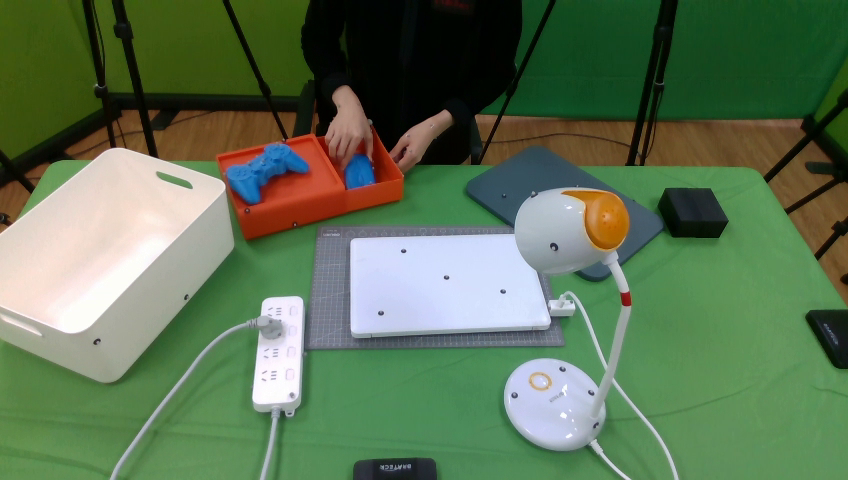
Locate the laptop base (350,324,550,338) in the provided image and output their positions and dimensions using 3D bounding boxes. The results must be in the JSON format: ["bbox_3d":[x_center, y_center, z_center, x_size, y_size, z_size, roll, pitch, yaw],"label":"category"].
[{"bbox_3d":[0.039,0.081,1.124,0.355,0.023,0.234,-2,43,-6],"label":"laptop base"}]

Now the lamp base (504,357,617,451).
[{"bbox_3d":[0.220,0.211,0.903,0.160,0.181,0.178,-33,59,-30],"label":"lamp base"}]

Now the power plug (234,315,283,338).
[{"bbox_3d":[-0.270,0.143,1.000,0.072,0.053,0.035,5,47,2],"label":"power plug"}]

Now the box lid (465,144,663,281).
[{"bbox_3d":[0.297,-0.072,1.298,0.263,0.015,0.369,-33,56,-31],"label":"box lid"}]

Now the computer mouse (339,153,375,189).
[{"bbox_3d":[-0.144,-0.144,1.303,0.063,0.041,0.116,-8,54,-14],"label":"computer mouse"}]

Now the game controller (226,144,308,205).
[{"bbox_3d":[-0.314,-0.139,1.194,0.096,0.052,0.155,30,50,26],"label":"game controller"}]

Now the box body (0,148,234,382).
[{"bbox_3d":[-0.525,0.033,1.027,0.254,0.161,0.362,18,47,13],"label":"box body"}]

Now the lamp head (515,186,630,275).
[{"bbox_3d":[0.188,-0.013,0.728,0.112,0.112,0.122,-25,9,-25],"label":"lamp head"}]

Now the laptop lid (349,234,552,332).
[{"bbox_3d":[0.040,0.071,1.118,0.357,0.013,0.240,0,44,-5],"label":"laptop lid"}]

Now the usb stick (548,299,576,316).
[{"bbox_3d":[0.239,0.121,1.084,0.059,0.027,0.021,-1,51,-1],"label":"usb stick"}]

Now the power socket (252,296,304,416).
[{"bbox_3d":[-0.238,0.182,0.997,0.072,0.033,0.225,-3,47,-5],"label":"power socket"}]

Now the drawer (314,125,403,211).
[{"bbox_3d":[-0.176,-0.148,1.288,0.212,0.073,0.193,-15,50,-18],"label":"drawer"}]

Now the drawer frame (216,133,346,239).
[{"bbox_3d":[-0.291,-0.115,1.244,0.214,0.083,0.200,-18,51,-20],"label":"drawer frame"}]
